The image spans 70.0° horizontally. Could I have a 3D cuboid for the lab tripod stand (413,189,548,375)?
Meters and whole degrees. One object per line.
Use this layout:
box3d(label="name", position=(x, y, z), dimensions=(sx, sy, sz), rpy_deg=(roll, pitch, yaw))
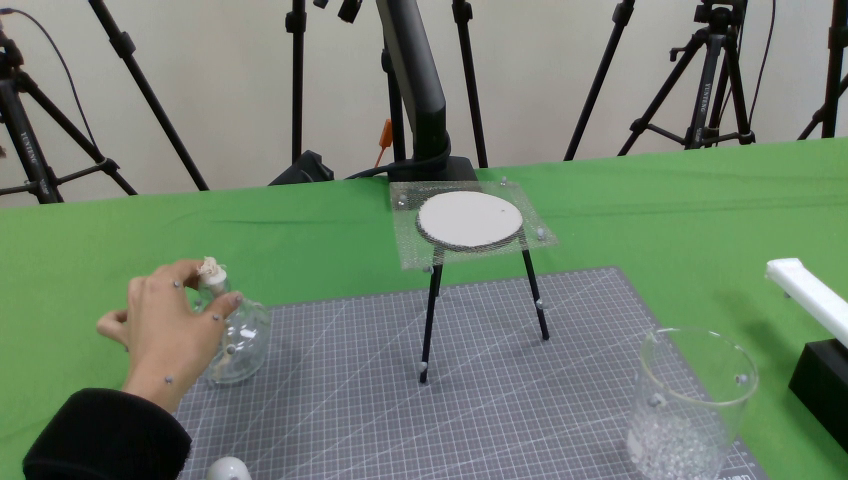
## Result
box3d(label="lab tripod stand", position=(0.042, 0.031, 0.539), dimensions=(0.148, 0.132, 0.147), rpy_deg=(0, 32, 1))

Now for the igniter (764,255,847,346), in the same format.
box3d(label="igniter", position=(0.348, 0.089, 0.453), dimensions=(0.057, 0.025, 0.274), rpy_deg=(-5, 30, -3))

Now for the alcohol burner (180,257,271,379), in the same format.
box3d(label="alcohol burner", position=(-0.173, 0.062, 0.522), dimensions=(0.078, 0.120, 0.077), rpy_deg=(1, 36, 0))

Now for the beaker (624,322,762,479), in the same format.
box3d(label="beaker", position=(0.183, 0.118, 0.432), dimensions=(0.074, 0.101, 0.083), rpy_deg=(-16, 36, -20))

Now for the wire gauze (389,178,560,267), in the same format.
box3d(label="wire gauze", position=(0.035, -0.022, 0.497), dimensions=(0.121, 0.011, 0.124), rpy_deg=(-5, 34, -7))

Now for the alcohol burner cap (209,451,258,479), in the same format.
box3d(label="alcohol burner cap", position=(-0.134, 0.168, 0.426), dimensions=(0.034, 0.048, 0.033), rpy_deg=(-1, 35, 1))
